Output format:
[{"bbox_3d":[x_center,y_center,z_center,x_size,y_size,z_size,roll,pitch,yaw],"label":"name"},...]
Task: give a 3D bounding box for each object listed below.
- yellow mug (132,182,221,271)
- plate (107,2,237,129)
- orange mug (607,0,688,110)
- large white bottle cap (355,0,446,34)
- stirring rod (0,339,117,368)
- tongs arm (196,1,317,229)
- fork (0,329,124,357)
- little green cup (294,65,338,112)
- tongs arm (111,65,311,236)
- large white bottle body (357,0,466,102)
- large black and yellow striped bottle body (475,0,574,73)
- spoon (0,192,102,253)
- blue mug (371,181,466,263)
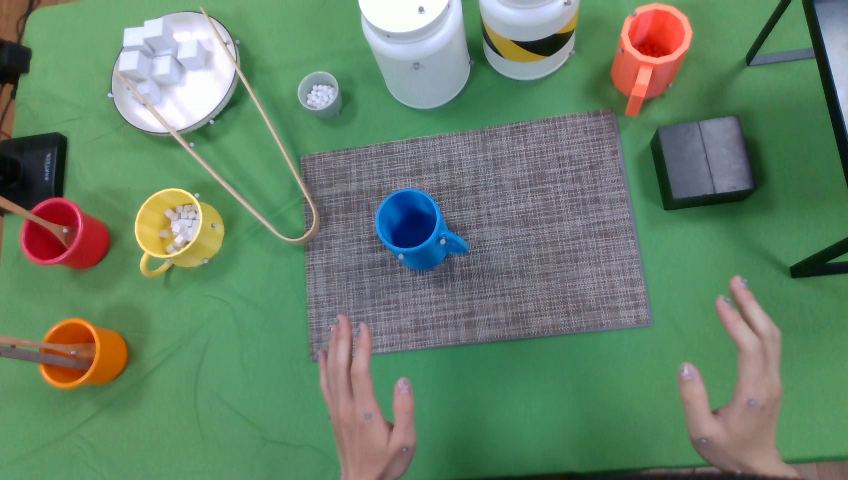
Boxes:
[{"bbox_3d":[-0.358,-0.012,0.859,0.099,0.064,0.130,32,84,14],"label":"yellow mug"},{"bbox_3d":[-0.384,-0.265,0.937,0.207,0.039,0.206,-2,77,8],"label":"plate"},{"bbox_3d":[0.288,-0.241,0.801,0.083,0.101,0.125,16,75,13],"label":"orange mug"},{"bbox_3d":[-0.028,-0.303,0.729,0.114,0.018,0.114,-2,77,9],"label":"large white bottle cap"},{"bbox_3d":[-0.502,0.149,0.802,0.006,0.178,0.014,-30,50,45],"label":"stirring rod"},{"bbox_3d":[-0.245,-0.188,0.882,0.028,0.028,0.386,-29,81,-8],"label":"tongs arm"},{"bbox_3d":[-0.512,0.131,0.804,0.209,0.018,0.028,16,74,-33],"label":"fork"},{"bbox_3d":[-0.156,-0.221,0.893,0.061,0.039,0.061,-2,78,8],"label":"little green cup"},{"bbox_3d":[-0.311,-0.136,0.876,0.051,0.026,0.383,-43,82,-7],"label":"tongs arm"},{"bbox_3d":[-0.015,-0.283,0.810,0.130,0.186,0.130,-2,76,8],"label":"large white bottle body"},{"bbox_3d":[0.132,-0.320,0.798,0.130,0.185,0.130,-2,76,8],"label":"large black and yellow striped bottle body"},{"bbox_3d":[-0.554,-0.039,0.854,0.195,0.021,0.041,34,80,-30],"label":"spoon"},{"bbox_3d":[-0.001,-0.016,0.783,0.116,0.106,0.082,18,80,12],"label":"blue mug"}]
